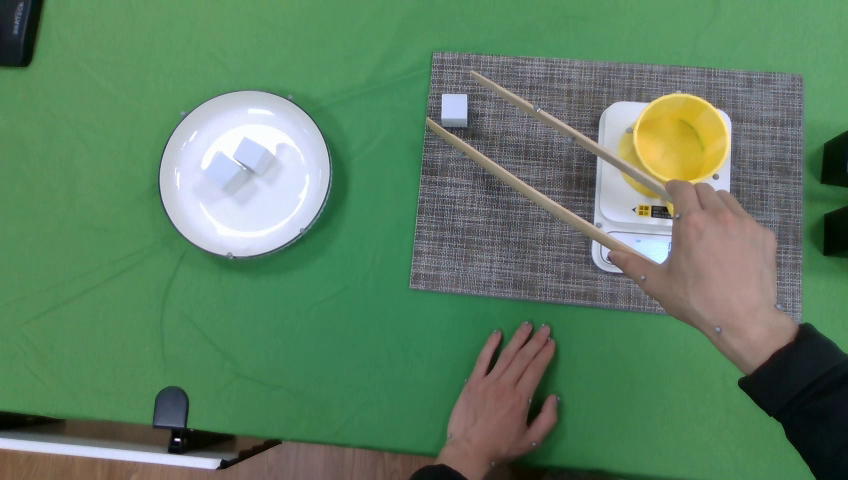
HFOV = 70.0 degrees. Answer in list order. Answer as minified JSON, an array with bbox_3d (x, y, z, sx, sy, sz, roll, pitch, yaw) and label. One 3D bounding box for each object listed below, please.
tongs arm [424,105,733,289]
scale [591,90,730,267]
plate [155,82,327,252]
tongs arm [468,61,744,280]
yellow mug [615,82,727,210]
[{"bbox_3d":[0.122,-0.058,0.602,0.028,0.028,0.383,-45,52,-7],"label":"tongs arm"},{"bbox_3d":[0.274,-0.073,0.704,0.148,0.031,0.200,4,83,4],"label":"scale"},{"bbox_3d":[-0.218,-0.086,0.736,0.207,0.039,0.207,0,82,3],"label":"plate"},{"bbox_3d":[0.153,-0.089,0.603,0.051,0.027,0.380,-45,52,-3],"label":"tongs arm"},{"bbox_3d":[0.269,-0.098,0.661,0.100,0.064,0.130,-6,83,2],"label":"yellow mug"}]
